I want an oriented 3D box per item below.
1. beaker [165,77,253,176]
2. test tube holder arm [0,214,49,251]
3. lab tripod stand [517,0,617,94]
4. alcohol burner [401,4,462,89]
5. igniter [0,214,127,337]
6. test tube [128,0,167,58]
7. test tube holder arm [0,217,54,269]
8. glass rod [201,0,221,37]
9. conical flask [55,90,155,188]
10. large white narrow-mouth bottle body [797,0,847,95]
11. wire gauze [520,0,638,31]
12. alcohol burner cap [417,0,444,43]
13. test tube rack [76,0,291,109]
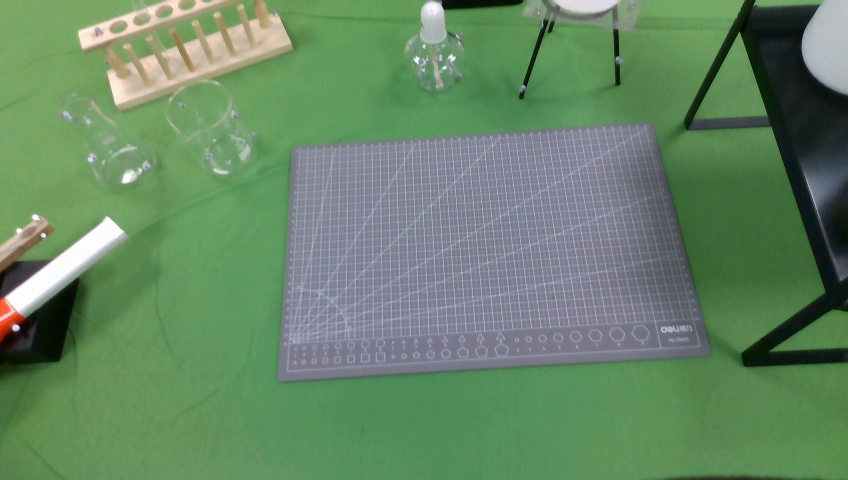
[{"bbox_3d":[-0.251,-0.127,0.718,0.074,0.101,0.083,10,65,8],"label":"beaker"},{"bbox_3d":[-0.475,0.037,0.639,0.013,0.015,0.178,38,71,19],"label":"test tube holder arm"},{"bbox_3d":[0.179,-0.257,0.741,0.148,0.132,0.147,0,63,1],"label":"lab tripod stand"},{"bbox_3d":[0.010,-0.247,0.756,0.078,0.120,0.077,0,62,1],"label":"alcohol burner"},{"bbox_3d":[-0.428,0.073,0.616,0.057,0.025,0.276,39,68,17],"label":"igniter"},{"bbox_3d":[-0.351,-0.284,0.751,0.017,0.151,0.017,1,61,-1],"label":"test tube"},{"bbox_3d":[-0.441,0.010,0.652,0.010,0.015,0.087,40,71,19],"label":"test tube holder arm"},{"bbox_3d":[-0.289,-0.326,0.749,0.008,0.201,0.008,-5,58,8],"label":"glass rod"},{"bbox_3d":[-0.376,-0.121,0.707,0.075,0.123,0.074,-1,64,3],"label":"conical flask"},{"bbox_3d":[0.388,-0.210,0.475,0.102,0.196,0.101,-1,66,2],"label":"large white narrow-mouth bottle body"},{"bbox_3d":[0.183,-0.288,0.681,0.121,0.011,0.124,17,67,9],"label":"wire gauze"},{"bbox_3d":[0.007,-0.264,0.724,0.034,0.048,0.033,-1,63,2],"label":"alcohol burner cap"},{"bbox_3d":[-0.308,-0.263,0.793,0.242,0.086,0.066,-23,65,-8],"label":"test tube rack"}]
